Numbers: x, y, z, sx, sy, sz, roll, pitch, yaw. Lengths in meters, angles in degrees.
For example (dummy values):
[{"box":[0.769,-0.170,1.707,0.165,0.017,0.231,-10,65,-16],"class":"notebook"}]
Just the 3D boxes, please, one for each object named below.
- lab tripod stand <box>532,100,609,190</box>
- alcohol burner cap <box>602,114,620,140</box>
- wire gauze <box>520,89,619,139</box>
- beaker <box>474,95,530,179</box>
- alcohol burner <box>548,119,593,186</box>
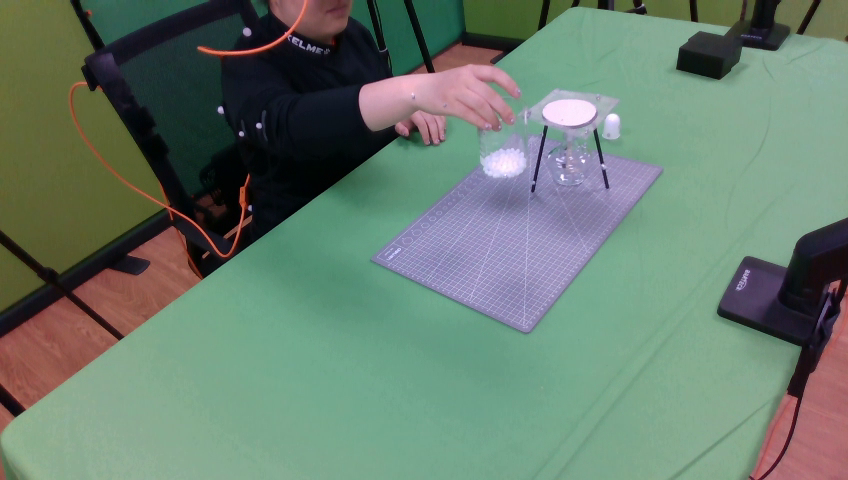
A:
[{"box":[0.251,-0.161,1.034,0.148,0.132,0.147,-4,39,4],"class":"lab tripod stand"},{"box":[0.359,-0.217,1.157,0.034,0.048,0.033,-7,40,6],"class":"alcohol burner cap"},{"box":[0.239,-0.213,0.994,0.124,0.011,0.122,24,49,32],"class":"wire gauze"},{"box":[0.111,-0.145,0.860,0.074,0.101,0.083,-29,40,-24],"class":"beaker"},{"box":[0.252,-0.154,1.042,0.078,0.120,0.077,-7,40,7],"class":"alcohol burner"}]
